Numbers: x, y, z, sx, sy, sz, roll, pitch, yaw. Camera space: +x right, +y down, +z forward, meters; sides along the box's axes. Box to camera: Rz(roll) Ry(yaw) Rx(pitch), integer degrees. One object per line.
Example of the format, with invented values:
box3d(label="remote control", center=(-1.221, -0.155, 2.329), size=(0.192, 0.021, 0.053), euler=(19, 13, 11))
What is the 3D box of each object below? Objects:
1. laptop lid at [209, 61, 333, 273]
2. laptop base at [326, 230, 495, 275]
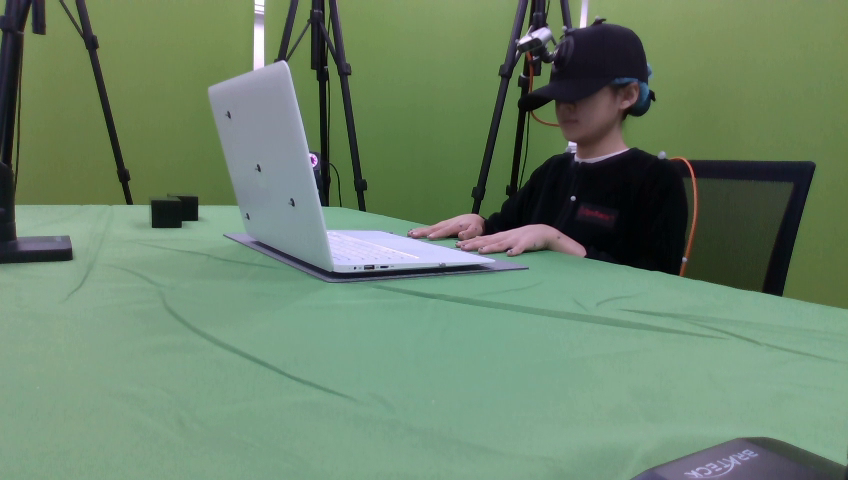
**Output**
box3d(label="laptop lid", center=(-0.213, -0.095, 0.790), size=(0.013, 0.241, 0.355), euler=(-18, 18, -29))
box3d(label="laptop base", center=(-0.093, 0.015, 0.884), size=(0.237, 0.023, 0.352), euler=(3, 6, -33))
